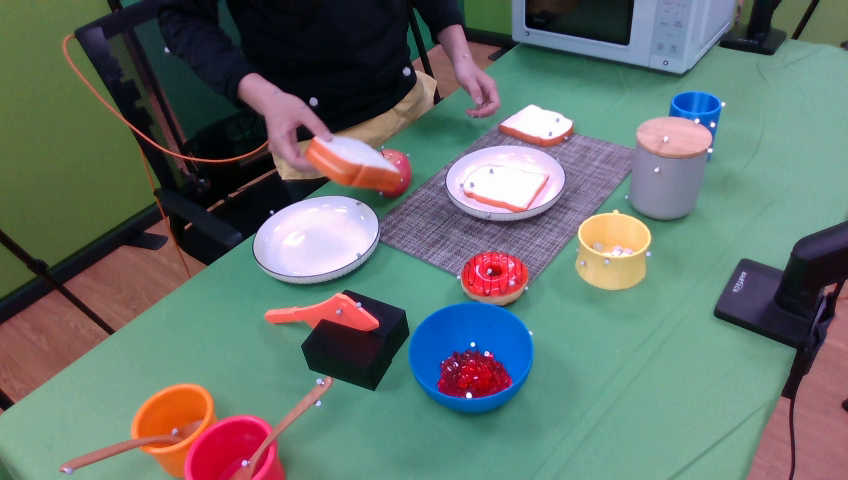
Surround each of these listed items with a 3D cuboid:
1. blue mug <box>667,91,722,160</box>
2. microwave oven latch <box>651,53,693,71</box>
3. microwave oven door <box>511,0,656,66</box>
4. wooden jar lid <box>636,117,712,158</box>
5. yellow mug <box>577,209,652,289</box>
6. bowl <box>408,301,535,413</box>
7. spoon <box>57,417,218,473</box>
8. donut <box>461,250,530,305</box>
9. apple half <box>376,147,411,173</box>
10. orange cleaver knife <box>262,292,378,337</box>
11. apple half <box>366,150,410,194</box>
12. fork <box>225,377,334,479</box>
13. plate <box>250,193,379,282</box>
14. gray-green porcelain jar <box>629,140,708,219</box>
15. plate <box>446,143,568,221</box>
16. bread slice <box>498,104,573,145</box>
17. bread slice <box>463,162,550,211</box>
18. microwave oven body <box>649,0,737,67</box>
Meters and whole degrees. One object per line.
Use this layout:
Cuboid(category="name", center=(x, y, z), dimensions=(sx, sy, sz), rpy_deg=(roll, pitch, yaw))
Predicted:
Cuboid(category="blue mug", center=(0.474, -0.207, 1.079), dimensions=(0.082, 0.106, 0.116), rpy_deg=(4, 42, 13))
Cuboid(category="microwave oven latch", center=(0.532, -0.386, 1.301), dimensions=(0.078, 0.029, 0.030), rpy_deg=(27, 52, 34))
Cuboid(category="microwave oven door", center=(0.351, -0.540, 1.349), dimensions=(0.353, 0.245, 0.039), rpy_deg=(24, 50, 31))
Cuboid(category="wooden jar lid", center=(0.377, -0.151, 0.917), dimensions=(0.108, 0.021, 0.108), rpy_deg=(-2, 42, 3))
Cuboid(category="yellow mug", center=(0.279, 0.004, 0.893), dimensions=(0.099, 0.064, 0.130), rpy_deg=(5, 41, 14))
Cuboid(category="bowl", center=(0.060, 0.156, 0.739), dimensions=(0.151, 0.077, 0.150), rpy_deg=(-4, 40, 4))
Cuboid(category="spoon", center=(-0.304, 0.221, 0.661), dimensions=(0.041, 0.195, 0.021), rpy_deg=(19, 92, 27))
Cuboid(category="donut", center=(0.103, 0.053, 0.872), dimensions=(0.099, 0.048, 0.098), rpy_deg=(-4, 40, 4))
Cuboid(category="apple half", center=(-0.052, -0.139, 1.100), dimensions=(0.081, 0.081, 0.033), rpy_deg=(17, 51, 25))
Cuboid(category="orange cleaver knife", center=(-0.145, 0.107, 0.821), dimensions=(0.210, 0.077, 0.012), rpy_deg=(-13, 36, 43))
Cuboid(category="apple half", center=(-0.070, -0.115, 1.075), dimensions=(0.080, 0.075, 0.053), rpy_deg=(17, 52, 23))
Cuboid(category="fork", center=(-0.163, 0.216, 0.646), dimensions=(0.207, 0.019, 0.028), rpy_deg=(-49, 42, 16))
Cuboid(category="plate", center=(-0.174, -0.001, 0.984), dimensions=(0.209, 0.038, 0.208), rpy_deg=(-3, 40, 3))
Cuboid(category="gray-green porcelain jar", center=(0.383, -0.105, 0.958), dimensions=(0.106, 0.127, 0.105), rpy_deg=(-4, 41, 4))
Cuboid(category="plate", center=(0.142, -0.097, 1.045), dimensions=(0.207, 0.039, 0.206), rpy_deg=(-4, 40, 4))
Cuboid(category="bread slice", center=(0.231, -0.232, 1.205), dimensions=(0.105, 0.019, 0.130), rpy_deg=(-36, 47, -29))
Cuboid(category="bread slice", center=(0.135, -0.094, 1.045), dimensions=(0.133, 0.018, 0.107), rpy_deg=(15, 45, 23))
Cuboid(category="microwave oven body", center=(0.475, -0.602, 1.411), dimensions=(0.438, 0.261, 0.327), rpy_deg=(23, 50, 32))
